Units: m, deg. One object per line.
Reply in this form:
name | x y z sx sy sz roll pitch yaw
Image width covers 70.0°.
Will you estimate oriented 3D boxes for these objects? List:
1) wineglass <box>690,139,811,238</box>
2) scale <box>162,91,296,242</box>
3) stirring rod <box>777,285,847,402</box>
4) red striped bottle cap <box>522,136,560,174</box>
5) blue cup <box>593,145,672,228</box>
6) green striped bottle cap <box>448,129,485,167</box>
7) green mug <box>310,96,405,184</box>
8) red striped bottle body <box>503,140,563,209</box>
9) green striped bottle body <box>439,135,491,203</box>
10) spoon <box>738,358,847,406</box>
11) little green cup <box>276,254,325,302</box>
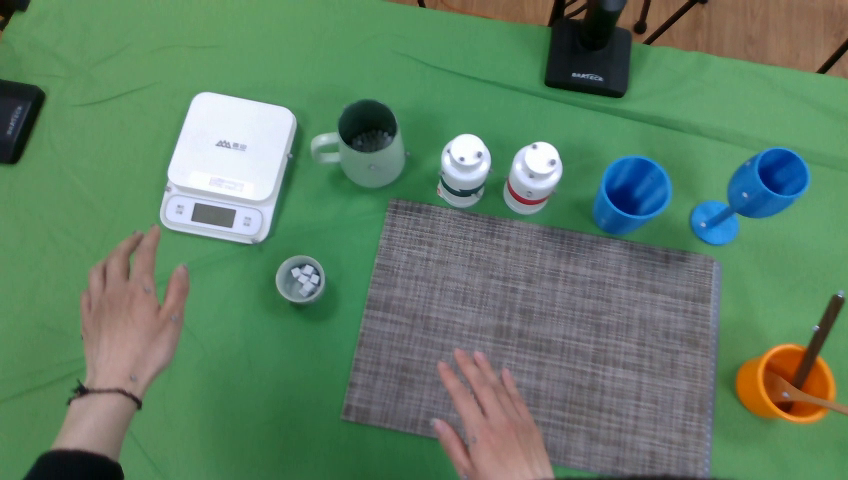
wineglass | 0.400 -0.059 0.757 0.074 0.173 0.073 0 73 0
scale | -0.267 -0.103 0.833 0.148 0.032 0.200 10 74 2
stirring rod | 0.457 0.127 0.717 0.014 0.177 0.006 15 33 17
red striped bottle cap | 0.143 -0.104 0.740 0.044 0.018 0.044 0 76 0
blue cup | 0.263 -0.059 0.793 0.092 0.101 0.092 0 73 1
green striped bottle cap | 0.052 -0.113 0.741 0.044 0.020 0.044 0 73 -1
green mug | -0.089 -0.128 0.806 0.125 0.105 0.092 -11 74 -4
red striped bottle body | 0.142 -0.088 0.790 0.063 0.120 0.062 0 73 -1
green striped bottle body | 0.053 -0.097 0.791 0.063 0.120 0.063 0 73 0
spoon | 0.465 0.180 0.701 0.022 0.192 0.041 31 79 -36
little green cup | -0.157 0.052 0.786 0.061 0.039 0.061 0 74 -1
